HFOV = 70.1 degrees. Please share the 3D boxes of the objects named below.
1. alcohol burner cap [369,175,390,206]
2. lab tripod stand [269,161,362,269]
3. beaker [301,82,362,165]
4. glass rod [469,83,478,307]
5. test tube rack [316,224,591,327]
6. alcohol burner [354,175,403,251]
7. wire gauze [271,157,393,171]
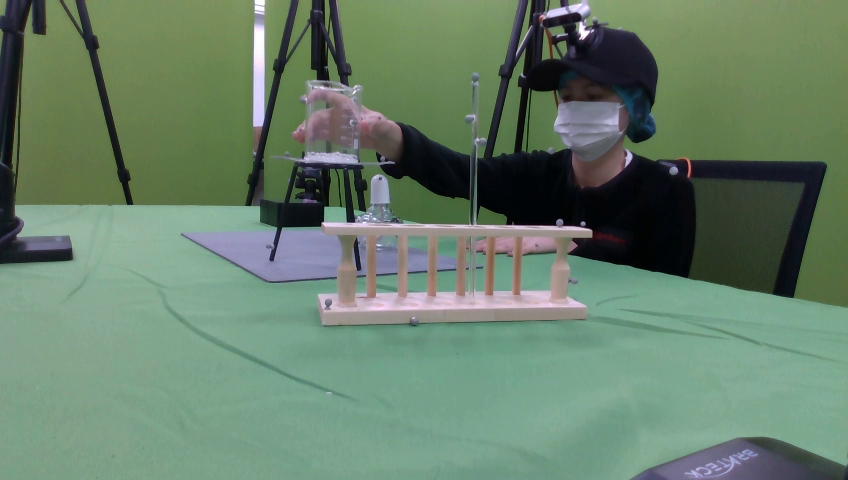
[{"bbox_3d":[-0.069,-0.077,0.939,0.034,0.048,0.034,-1,7,0],"label":"alcohol burner cap"},{"bbox_3d":[-0.125,-0.036,0.794,0.148,0.131,0.148,5,7,0],"label":"lab tripod stand"},{"bbox_3d":[-0.117,-0.147,0.776,0.074,0.100,0.083,-4,11,-38],"label":"beaker"},{"bbox_3d":[0.043,-0.033,0.523,0.008,0.199,0.008,-1,14,1],"label":"glass rod"},{"bbox_3d":[0.026,0.028,0.555,0.243,0.085,0.066,1,7,-14],"label":"test tube rack"},{"bbox_3d":[-0.072,-0.042,0.944,0.078,0.119,0.078,1,9,0],"label":"alcohol burner"},{"bbox_3d":[-0.122,-0.100,0.786,0.122,0.011,0.124,-6,14,-38],"label":"wire gauze"}]
